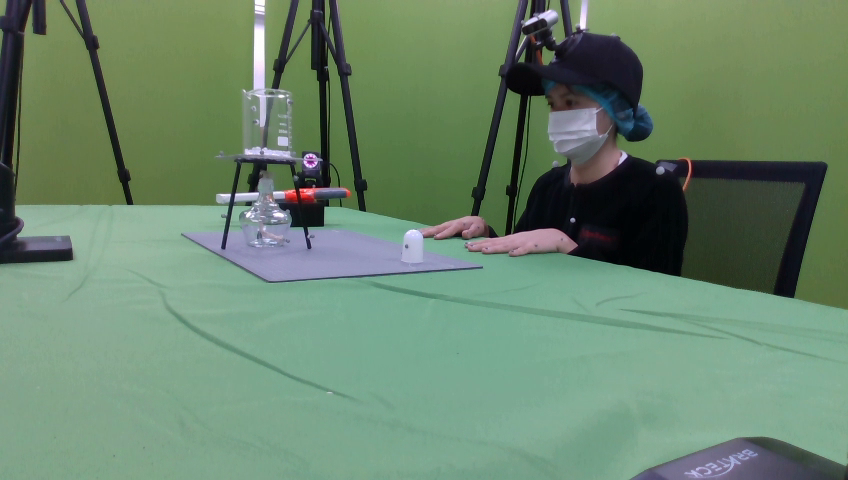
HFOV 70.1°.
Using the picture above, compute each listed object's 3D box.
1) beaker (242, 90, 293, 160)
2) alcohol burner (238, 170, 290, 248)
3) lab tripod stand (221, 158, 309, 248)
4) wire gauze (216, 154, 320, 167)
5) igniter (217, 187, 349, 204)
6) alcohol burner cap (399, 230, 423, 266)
[{"bbox_3d":[-0.235,-0.169,0.900,0.074,0.100,0.084,4,7,23],"label":"beaker"},{"bbox_3d":[-0.244,-0.048,0.927,0.078,0.119,0.078,3,5,0],"label":"alcohol burner"},{"bbox_3d":[-0.244,-0.057,0.917,0.148,0.131,0.148,1,7,0],"label":"lab tripod stand"},{"bbox_3d":[-0.236,-0.121,0.906,0.126,0.011,0.121,0,8,-33],"label":"wire gauze"},{"bbox_3d":[-0.285,-0.093,1.256,0.278,0.025,0.057,-6,12,-34],"label":"igniter"},{"bbox_3d":[-0.017,0.010,0.837,0.034,0.048,0.034,3,7,0],"label":"alcohol burner cap"}]
